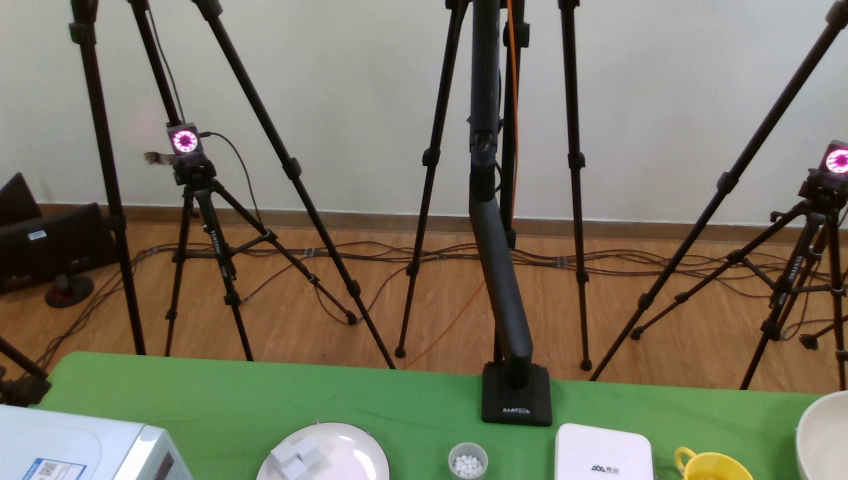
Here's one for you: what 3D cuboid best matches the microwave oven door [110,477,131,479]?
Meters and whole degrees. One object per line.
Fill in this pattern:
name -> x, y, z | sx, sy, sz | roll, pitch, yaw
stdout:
microwave oven door -> -0.373, 0.472, 0.642 | 0.039, 0.246, 0.353 | 4, 41, 8

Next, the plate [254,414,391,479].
plate -> -0.154, 0.368, 0.938 | 0.208, 0.039, 0.205 | -1, 41, 1

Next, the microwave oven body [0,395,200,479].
microwave oven body -> -0.510, 0.438, 0.696 | 0.325, 0.262, 0.438 | 5, 42, 8

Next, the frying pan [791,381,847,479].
frying pan -> 0.731, 0.397, 0.815 | 0.307, 0.103, 0.482 | -16, 34, -13

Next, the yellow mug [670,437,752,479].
yellow mug -> 0.418, 0.353, 0.909 | 0.100, 0.064, 0.129 | -19, 43, -18

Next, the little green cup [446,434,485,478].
little green cup -> 0.065, 0.344, 0.957 | 0.061, 0.039, 0.061 | -1, 41, 2

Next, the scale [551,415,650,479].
scale -> 0.270, 0.366, 0.927 | 0.148, 0.032, 0.199 | 5, 42, 10
